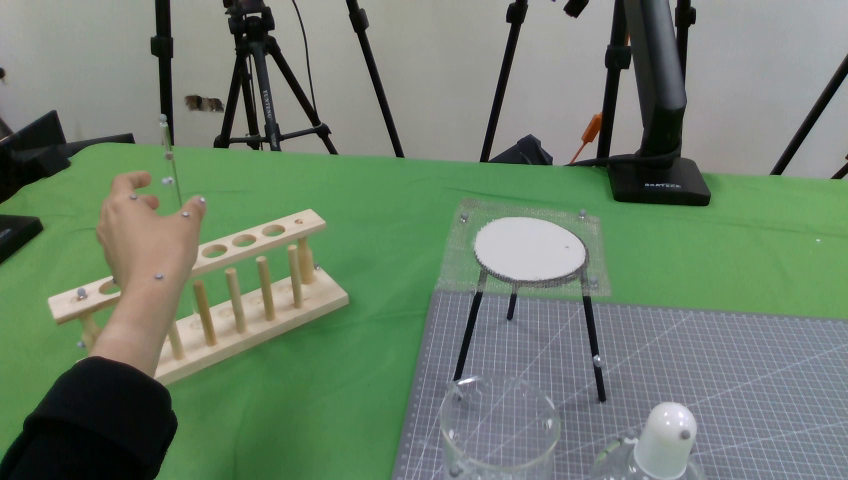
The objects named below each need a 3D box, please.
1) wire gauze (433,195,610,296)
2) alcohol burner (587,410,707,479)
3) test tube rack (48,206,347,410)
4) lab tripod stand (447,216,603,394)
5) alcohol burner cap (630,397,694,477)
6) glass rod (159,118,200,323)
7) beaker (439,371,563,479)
[{"bbox_3d":[0.077,0.003,0.466,0.121,0.011,0.124,6,35,8],"label":"wire gauze"},{"bbox_3d":[0.146,0.146,0.388,0.078,0.120,0.077,0,36,1],"label":"alcohol burner"},{"bbox_3d":[-0.197,0.054,0.564,0.243,0.086,0.066,-22,39,-29],"label":"test tube rack"},{"bbox_3d":[0.086,0.058,0.505,0.148,0.132,0.147,1,33,0],"label":"lab tripod stand"},{"bbox_3d":[0.147,0.117,0.368,0.034,0.048,0.033,2,36,-1],"label":"alcohol burner cap"},{"bbox_3d":[-0.217,-0.010,0.540,0.008,0.201,0.008,2,27,-1],"label":"glass rod"},{"bbox_3d":[0.045,0.147,0.403,0.074,0.101,0.083,-24,39,-30],"label":"beaker"}]
